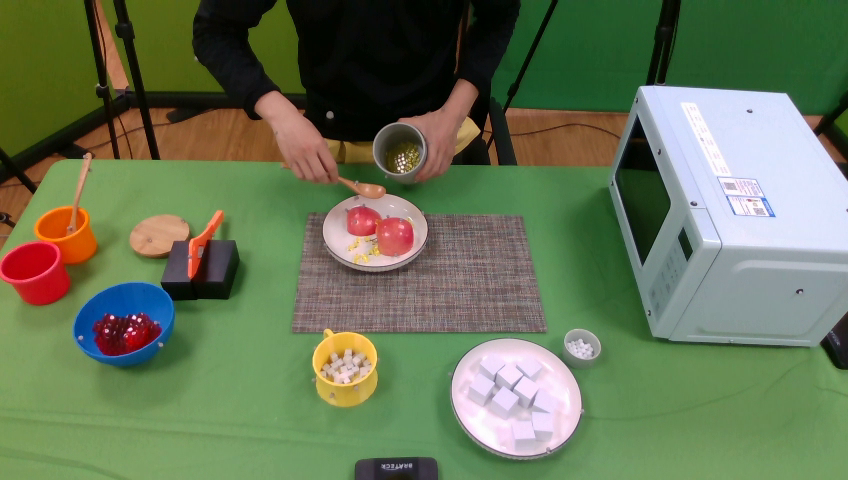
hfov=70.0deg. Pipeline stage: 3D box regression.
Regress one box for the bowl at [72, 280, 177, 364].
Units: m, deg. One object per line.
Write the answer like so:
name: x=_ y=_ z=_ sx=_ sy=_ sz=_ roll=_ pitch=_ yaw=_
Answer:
bowl: x=-0.473 y=0.147 z=0.982 sx=0.151 sy=0.077 sz=0.150 roll=2 pitch=46 yaw=-2

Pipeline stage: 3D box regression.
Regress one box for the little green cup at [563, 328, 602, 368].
little green cup: x=0.265 y=0.184 z=1.025 sx=0.061 sy=0.039 sz=0.061 roll=1 pitch=46 yaw=-1

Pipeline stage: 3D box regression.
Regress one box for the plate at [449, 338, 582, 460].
plate: x=0.141 y=0.251 z=0.956 sx=0.208 sy=0.039 sz=0.206 roll=2 pitch=46 yaw=-2

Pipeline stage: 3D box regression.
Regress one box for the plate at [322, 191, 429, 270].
plate: x=-0.093 y=-0.015 z=1.185 sx=0.209 sy=0.038 sz=0.208 roll=2 pitch=46 yaw=-2

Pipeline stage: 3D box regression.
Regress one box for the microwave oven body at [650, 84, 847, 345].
microwave oven body: x=0.569 y=-0.054 z=1.116 sx=0.326 sy=0.261 sz=0.439 roll=2 pitch=46 yaw=-1

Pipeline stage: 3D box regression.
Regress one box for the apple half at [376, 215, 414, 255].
apple half: x=-0.055 y=-0.017 z=1.168 sx=0.075 sy=0.053 sz=0.080 roll=0 pitch=45 yaw=-7

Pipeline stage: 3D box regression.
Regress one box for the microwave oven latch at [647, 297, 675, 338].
microwave oven latch: x=0.413 y=0.133 z=1.060 sx=0.030 sy=0.029 sz=0.078 roll=5 pitch=46 yaw=2

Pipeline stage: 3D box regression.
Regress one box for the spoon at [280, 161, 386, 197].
spoon: x=-0.160 y=-0.113 z=1.083 sx=0.194 sy=0.022 sz=0.041 roll=17 pitch=41 yaw=-21

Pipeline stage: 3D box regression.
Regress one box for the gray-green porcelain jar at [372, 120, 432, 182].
gray-green porcelain jar: x=-0.040 y=-0.174 z=1.220 sx=0.106 sy=0.126 sz=0.105 roll=0 pitch=87 yaw=8

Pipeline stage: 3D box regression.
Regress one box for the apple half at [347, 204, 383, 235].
apple half: x=-0.118 y=-0.049 z=1.207 sx=0.081 sy=0.033 sz=0.081 roll=2 pitch=51 yaw=-3

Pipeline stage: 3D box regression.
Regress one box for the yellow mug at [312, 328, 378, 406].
yellow mug: x=-0.132 y=0.193 z=0.971 sx=0.100 sy=0.064 sz=0.130 roll=-22 pitch=51 yaw=-22

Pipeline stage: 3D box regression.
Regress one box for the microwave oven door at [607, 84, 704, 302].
microwave oven door: x=0.424 y=-0.096 z=1.138 sx=0.039 sy=0.245 sz=0.353 roll=3 pitch=46 yaw=-1

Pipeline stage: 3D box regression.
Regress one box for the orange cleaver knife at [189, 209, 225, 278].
orange cleaver knife: x=-0.401 y=0.002 z=1.122 sx=0.012 sy=0.077 sz=0.210 roll=3 pitch=22 yaw=-4

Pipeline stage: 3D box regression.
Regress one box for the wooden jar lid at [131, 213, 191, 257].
wooden jar lid: x=-0.504 y=-0.008 z=1.167 sx=0.108 sy=0.021 sz=0.107 roll=3 pitch=46 yaw=-3

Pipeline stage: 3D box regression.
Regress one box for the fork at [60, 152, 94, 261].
fork: x=-0.638 y=-0.063 z=1.119 sx=0.028 sy=0.018 sz=0.207 roll=12 pitch=90 yaw=8
